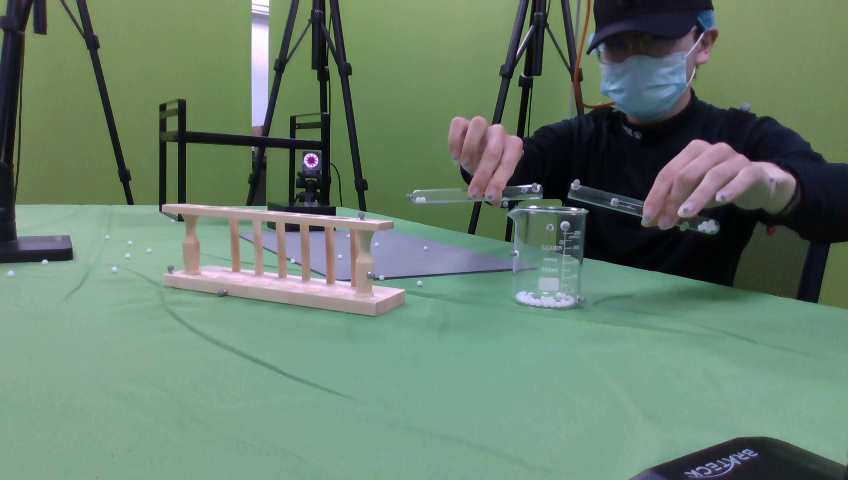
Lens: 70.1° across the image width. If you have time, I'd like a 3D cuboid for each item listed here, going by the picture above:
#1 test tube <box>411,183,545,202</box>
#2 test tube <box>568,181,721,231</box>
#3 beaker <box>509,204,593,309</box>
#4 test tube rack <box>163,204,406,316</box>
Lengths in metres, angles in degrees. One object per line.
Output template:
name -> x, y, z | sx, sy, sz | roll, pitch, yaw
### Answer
test tube -> 0.055, -0.051, 0.650 | 0.150, 0.017, 0.017 | -1, 6, 23
test tube -> 0.217, -0.033, 0.595 | 0.150, 0.017, 0.017 | 15, 9, 4
beaker -> 0.126, 0.015, 0.613 | 0.084, 0.100, 0.074 | 1, 7, -5
test tube rack -> -0.141, 0.013, 0.601 | 0.241, 0.085, 0.067 | 5, 8, 21
